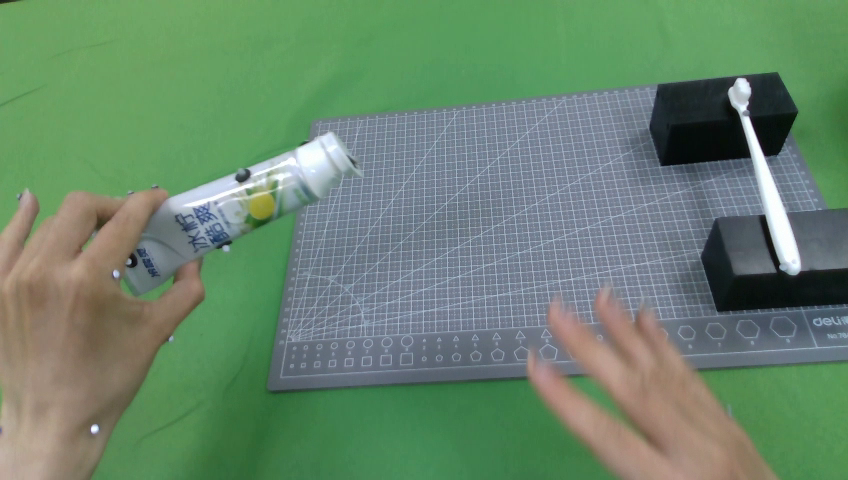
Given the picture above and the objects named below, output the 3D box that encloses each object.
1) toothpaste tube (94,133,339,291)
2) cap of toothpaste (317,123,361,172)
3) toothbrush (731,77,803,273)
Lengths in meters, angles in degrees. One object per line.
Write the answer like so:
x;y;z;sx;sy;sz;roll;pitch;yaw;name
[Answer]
-0.127;-0.023;0.387;0.165;0.055;0.034;-25;14;6;toothpaste tube
-0.053;-0.056;0.379;0.011;0.038;0.037;-36;55;4;cap of toothpaste
0.253;-0.055;0.448;0.014;0.017;0.180;5;57;0;toothbrush
